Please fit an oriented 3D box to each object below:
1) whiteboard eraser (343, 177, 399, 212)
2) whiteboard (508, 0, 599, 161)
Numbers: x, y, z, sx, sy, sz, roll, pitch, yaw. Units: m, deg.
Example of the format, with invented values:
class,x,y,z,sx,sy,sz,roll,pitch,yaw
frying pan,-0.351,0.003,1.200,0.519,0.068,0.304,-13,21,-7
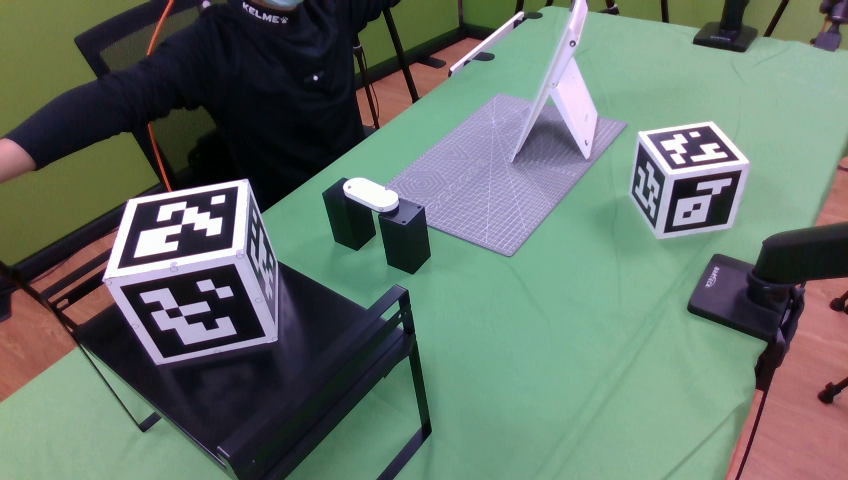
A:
class,x,y,z,sx,sy,sz,roll,pitch,yaw
whiteboard eraser,-0.081,-0.069,0.909,0.100,0.019,0.041,25,50,33
whiteboard,0.285,-0.289,1.090,0.144,0.305,0.217,22,45,3
